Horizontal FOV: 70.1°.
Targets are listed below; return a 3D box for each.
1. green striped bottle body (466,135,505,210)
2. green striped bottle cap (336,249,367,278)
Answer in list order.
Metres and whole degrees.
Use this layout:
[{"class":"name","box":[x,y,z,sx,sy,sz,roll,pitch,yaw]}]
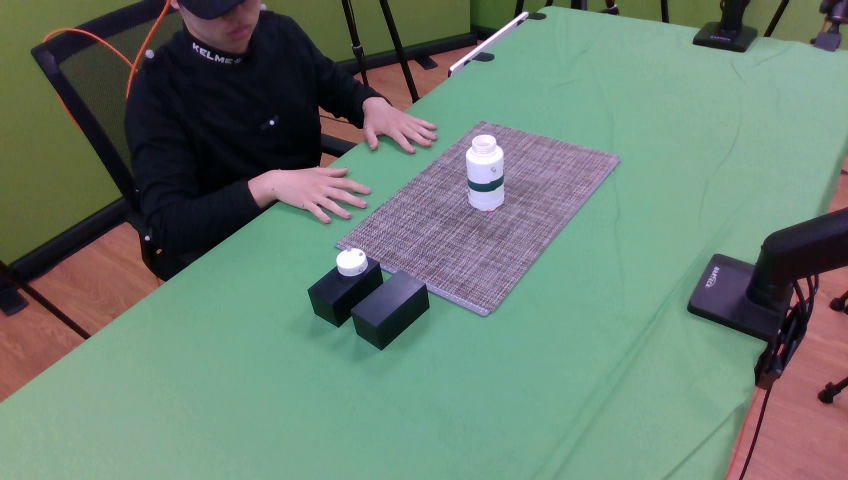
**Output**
[{"class":"green striped bottle body","box":[0.102,-0.114,1.006,0.063,0.120,0.063,-4,40,4]},{"class":"green striped bottle cap","box":[-0.105,0.033,0.873,0.044,0.020,0.044,-5,42,5]}]
